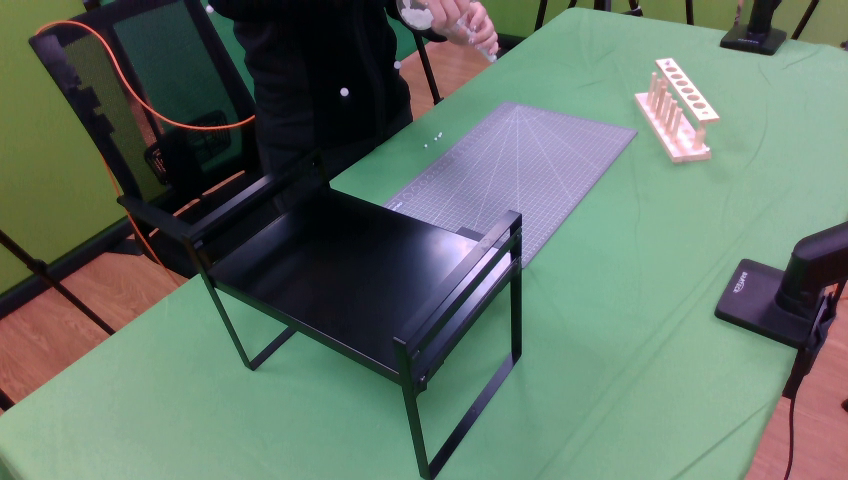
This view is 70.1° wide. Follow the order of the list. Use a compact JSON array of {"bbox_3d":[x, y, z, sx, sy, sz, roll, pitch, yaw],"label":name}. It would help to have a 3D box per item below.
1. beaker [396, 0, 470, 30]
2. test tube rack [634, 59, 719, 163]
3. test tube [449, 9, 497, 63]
[{"bbox_3d":[0.014,-0.350,0.875,0.073,0.084,0.100,25,48,27],"label":"beaker"},{"bbox_3d":[0.470,-0.250,1.148,0.067,0.085,0.241,-6,40,3],"label":"test tube rack"},{"bbox_3d":[0.082,-0.330,0.988,0.017,0.151,0.017,-9,72,30],"label":"test tube"}]
